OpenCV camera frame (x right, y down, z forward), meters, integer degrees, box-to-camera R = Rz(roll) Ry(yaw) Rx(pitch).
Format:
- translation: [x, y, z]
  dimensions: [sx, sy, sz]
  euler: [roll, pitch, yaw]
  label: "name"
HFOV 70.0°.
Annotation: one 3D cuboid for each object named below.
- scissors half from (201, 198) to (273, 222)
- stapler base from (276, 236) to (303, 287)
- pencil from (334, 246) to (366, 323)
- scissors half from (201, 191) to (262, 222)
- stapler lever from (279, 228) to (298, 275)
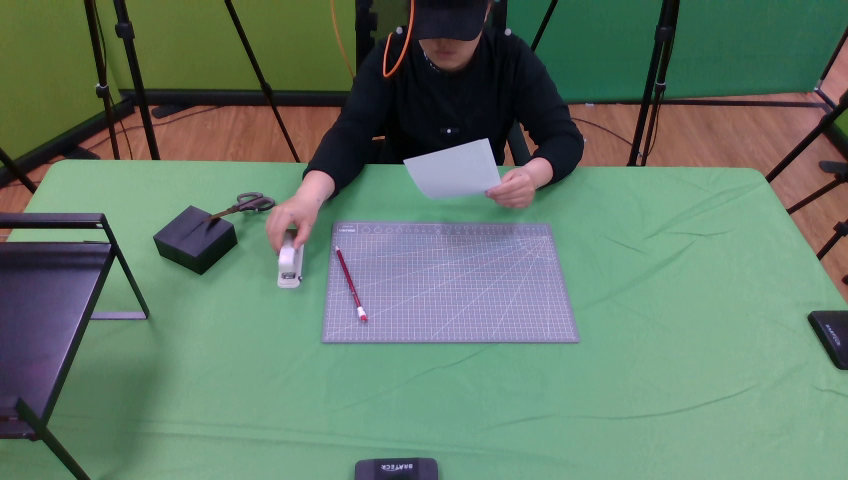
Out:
- translation: [-0.365, -0.055, 1.192]
  dimensions: [0.040, 0.013, 0.175]
  euler: [39, 32, 22]
  label: "scissors half"
- translation: [-0.254, 0.033, 1.144]
  dimensions: [0.041, 0.024, 0.129]
  euler: [3, 44, -9]
  label: "stapler base"
- translation: [-0.140, 0.077, 1.116]
  dimensions: [0.012, 0.012, 0.192]
  euler: [-14, 48, -17]
  label: "pencil"
- translation: [-0.381, -0.066, 1.198]
  dimensions: [0.040, 0.013, 0.175]
  euler: [25, 28, 9]
  label: "scissors half"
- translation: [-0.252, 0.016, 1.128]
  dimensions: [0.027, 0.040, 0.117]
  euler: [3, 45, -8]
  label: "stapler lever"
